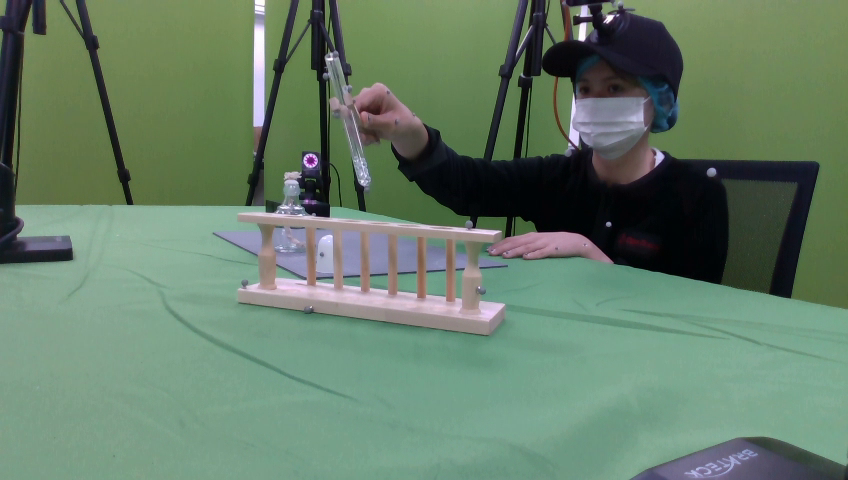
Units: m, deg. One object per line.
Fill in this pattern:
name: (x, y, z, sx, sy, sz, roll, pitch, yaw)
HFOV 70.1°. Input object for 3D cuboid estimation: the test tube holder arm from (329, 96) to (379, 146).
test tube holder arm: (-0.080, -0.139, 0.723, 0.013, 0.015, 0.178, -14, -6, 7)

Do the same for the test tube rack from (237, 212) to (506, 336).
test tube rack: (-0.049, 0.024, 0.552, 0.242, 0.085, 0.067, 5, 8, 18)

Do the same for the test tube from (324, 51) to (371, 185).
test tube: (-0.082, -0.131, 0.653, 0.017, 0.150, 0.017, -15, -3, -1)

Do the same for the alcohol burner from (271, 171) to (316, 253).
alcohol burner: (-0.195, -0.041, 0.884, 0.078, 0.119, 0.078, 3, 5, 0)

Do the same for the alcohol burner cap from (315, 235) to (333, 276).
alcohol burner cap: (-0.116, 0.018, 0.728, 0.034, 0.048, 0.034, 3, 6, 0)

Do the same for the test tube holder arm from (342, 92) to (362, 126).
test tube holder arm: (-0.080, -0.144, 0.678, 0.010, 0.015, 0.088, -14, -6, -1)
